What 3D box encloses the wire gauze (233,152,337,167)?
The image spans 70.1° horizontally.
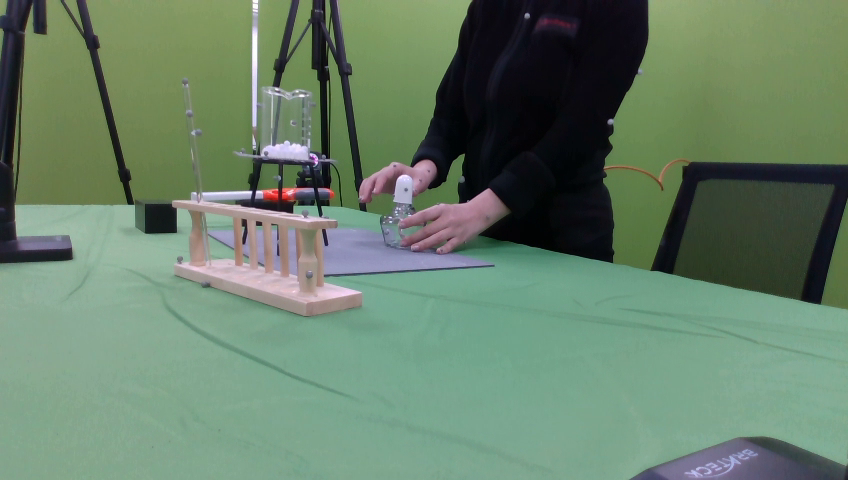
[{"bbox_3d":[-0.205,-0.119,0.887,0.122,0.011,0.124,2,4,-32],"label":"wire gauze"}]

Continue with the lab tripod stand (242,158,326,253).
[{"bbox_3d":[-0.207,-0.054,0.895,0.148,0.131,0.148,3,5,0],"label":"lab tripod stand"}]

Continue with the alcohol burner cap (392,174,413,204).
[{"bbox_3d":[-0.033,-0.082,0.969,0.034,0.048,0.034,5,9,0],"label":"alcohol burner cap"}]

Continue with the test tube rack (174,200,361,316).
[{"bbox_3d":[-0.169,0.009,0.622,0.241,0.085,0.067,9,9,41],"label":"test tube rack"}]

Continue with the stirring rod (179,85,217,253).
[{"bbox_3d":[-0.237,-0.073,0.634,0.006,0.176,0.014,0,10,42],"label":"stirring rod"}]

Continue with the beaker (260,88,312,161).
[{"bbox_3d":[-0.201,-0.166,0.876,0.074,0.100,0.083,1,7,-18],"label":"beaker"}]

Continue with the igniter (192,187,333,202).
[{"bbox_3d":[-0.316,-0.090,1.214,0.278,0.025,0.057,-5,12,-31],"label":"igniter"}]

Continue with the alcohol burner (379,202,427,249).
[{"bbox_3d":[-0.034,-0.046,0.974,0.078,0.119,0.078,1,6,0],"label":"alcohol burner"}]
